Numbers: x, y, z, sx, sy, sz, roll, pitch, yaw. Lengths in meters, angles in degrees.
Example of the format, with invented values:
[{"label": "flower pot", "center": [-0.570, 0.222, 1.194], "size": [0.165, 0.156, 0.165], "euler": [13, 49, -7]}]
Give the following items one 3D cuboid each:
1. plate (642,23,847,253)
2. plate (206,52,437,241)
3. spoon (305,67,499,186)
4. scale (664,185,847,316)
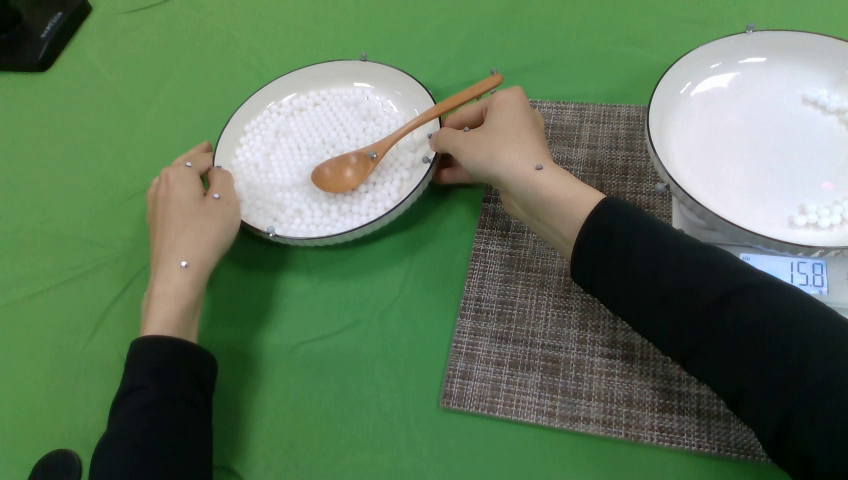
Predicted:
[{"label": "plate", "center": [0.268, -0.077, 0.449], "size": [0.207, 0.039, 0.205], "euler": [-3, 59, 6]}, {"label": "plate", "center": [-0.090, -0.084, 0.549], "size": [0.209, 0.038, 0.207], "euler": [-3, 59, 6]}, {"label": "spoon", "center": [-0.017, -0.102, 0.528], "size": [0.194, 0.022, 0.041], "euler": [-32, 59, -2]}, {"label": "scale", "center": [0.265, -0.042, 0.467], "size": [0.148, 0.032, 0.199], "euler": [6, 61, 12]}]
